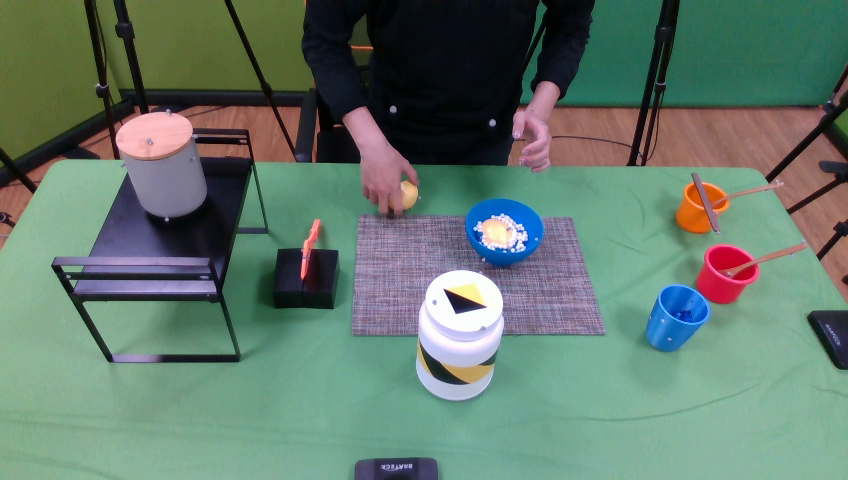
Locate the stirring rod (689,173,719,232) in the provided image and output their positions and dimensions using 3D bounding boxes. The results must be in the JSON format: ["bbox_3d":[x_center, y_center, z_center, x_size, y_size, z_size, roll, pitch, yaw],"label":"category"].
[{"bbox_3d":[0.566,-0.079,1.225,0.014,0.006,0.175,2,45,2],"label":"stirring rod"}]

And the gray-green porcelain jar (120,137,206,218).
[{"bbox_3d":[-0.403,-0.106,0.946,0.106,0.127,0.105,3,46,-2],"label":"gray-green porcelain jar"}]

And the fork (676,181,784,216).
[{"bbox_3d":[0.618,-0.083,1.235,0.207,0.019,0.028,-23,21,38],"label":"fork"}]

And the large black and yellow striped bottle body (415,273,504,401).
[{"bbox_3d":[0.054,0.150,0.943,0.131,0.185,0.130,2,46,-2],"label":"large black and yellow striped bottle body"}]

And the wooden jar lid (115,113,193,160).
[{"bbox_3d":[-0.399,-0.151,0.900,0.108,0.021,0.107,3,46,-3],"label":"wooden jar lid"}]

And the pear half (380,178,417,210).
[{"bbox_3d":[-0.045,-0.092,1.263,0.076,0.056,0.109,-23,8,18],"label":"pear half"}]

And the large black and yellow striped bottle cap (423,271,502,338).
[{"bbox_3d":[0.057,0.092,0.883,0.115,0.019,0.114,3,45,-3],"label":"large black and yellow striped bottle cap"}]

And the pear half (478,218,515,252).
[{"bbox_3d":[0.144,-0.013,1.167,0.070,0.031,0.087,-20,55,-21],"label":"pear half"}]

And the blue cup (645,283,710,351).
[{"bbox_3d":[0.426,0.139,1.041,0.093,0.100,0.092,4,46,-4],"label":"blue cup"}]

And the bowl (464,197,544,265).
[{"bbox_3d":[0.149,-0.004,1.167,0.151,0.077,0.150,2,46,-2],"label":"bowl"}]

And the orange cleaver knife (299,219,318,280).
[{"bbox_3d":[-0.214,0.013,1.126,0.012,0.077,0.210,6,17,-5],"label":"orange cleaver knife"}]

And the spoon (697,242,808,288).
[{"bbox_3d":[0.601,0.045,1.116,0.194,0.022,0.041,-29,34,30],"label":"spoon"}]
